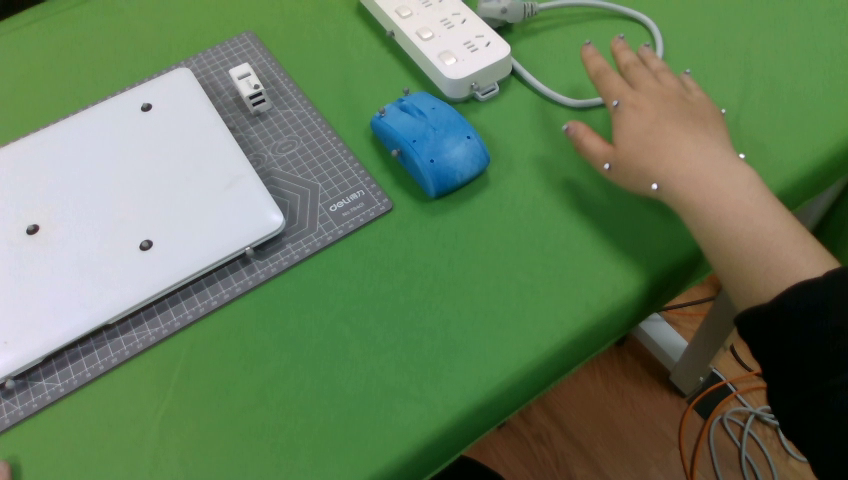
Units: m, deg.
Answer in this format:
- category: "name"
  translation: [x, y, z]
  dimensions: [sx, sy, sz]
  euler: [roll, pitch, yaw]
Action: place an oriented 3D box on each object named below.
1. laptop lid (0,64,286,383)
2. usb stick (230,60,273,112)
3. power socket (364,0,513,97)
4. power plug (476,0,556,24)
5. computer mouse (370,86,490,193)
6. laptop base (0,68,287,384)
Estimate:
- category: "laptop lid"
  translation: [-0.315, -0.008, 0.498]
  dimensions: [0.357, 0.013, 0.239]
  euler: [-29, 60, -12]
- category: "usb stick"
  translation: [-0.168, -0.152, 0.580]
  dimensions: [0.021, 0.027, 0.058]
  euler: [-30, 56, -9]
- category: "power socket"
  translation: [0.005, -0.222, 0.604]
  dimensions: [0.072, 0.033, 0.224]
  euler: [-29, 58, -11]
- category: "power plug"
  translation: [0.088, -0.233, 0.608]
  dimensions: [0.073, 0.035, 0.052]
  euler: [0, 30, -20]
- category: "computer mouse"
  translation: [0.002, -0.093, 0.518]
  dimensions: [0.063, 0.041, 0.116]
  euler: [-32, 54, -11]
- category: "laptop base"
  translation: [-0.316, -0.003, 0.509]
  dimensions: [0.354, 0.023, 0.233]
  euler: [-31, 62, -13]
